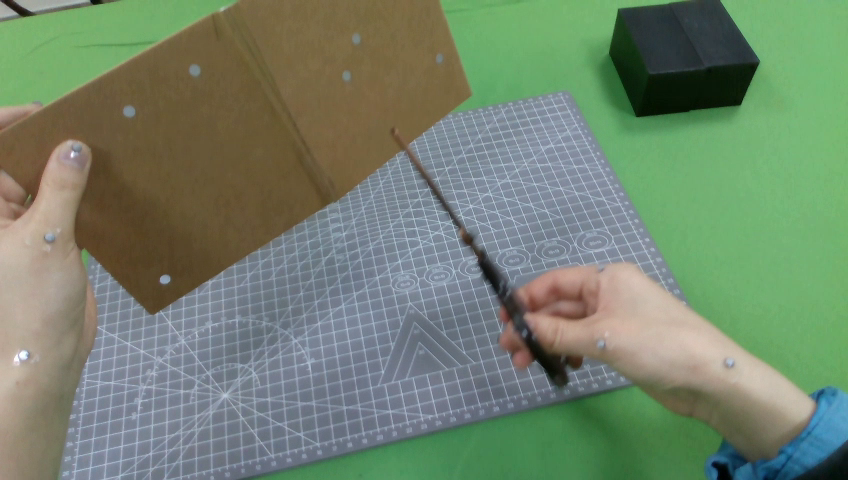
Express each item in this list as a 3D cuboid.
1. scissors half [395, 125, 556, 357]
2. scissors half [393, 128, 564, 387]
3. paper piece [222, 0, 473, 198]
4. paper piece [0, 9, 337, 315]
[{"bbox_3d":[0.032,0.006,0.359,0.013,0.176,0.039,-30,22,12],"label":"scissors half"},{"bbox_3d":[0.031,0.011,0.340,0.013,0.040,0.175,-32,96,7],"label":"scissors half"},{"bbox_3d":[-0.034,-0.115,0.379,0.135,0.137,0.004,-40,41,-18],"label":"paper piece"},{"bbox_3d":[-0.138,-0.038,0.347,0.138,0.137,0.008,-34,36,-11],"label":"paper piece"}]
